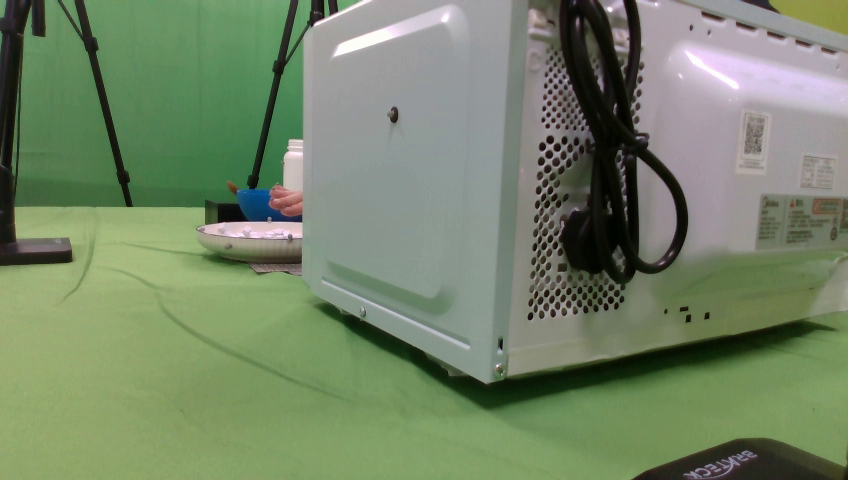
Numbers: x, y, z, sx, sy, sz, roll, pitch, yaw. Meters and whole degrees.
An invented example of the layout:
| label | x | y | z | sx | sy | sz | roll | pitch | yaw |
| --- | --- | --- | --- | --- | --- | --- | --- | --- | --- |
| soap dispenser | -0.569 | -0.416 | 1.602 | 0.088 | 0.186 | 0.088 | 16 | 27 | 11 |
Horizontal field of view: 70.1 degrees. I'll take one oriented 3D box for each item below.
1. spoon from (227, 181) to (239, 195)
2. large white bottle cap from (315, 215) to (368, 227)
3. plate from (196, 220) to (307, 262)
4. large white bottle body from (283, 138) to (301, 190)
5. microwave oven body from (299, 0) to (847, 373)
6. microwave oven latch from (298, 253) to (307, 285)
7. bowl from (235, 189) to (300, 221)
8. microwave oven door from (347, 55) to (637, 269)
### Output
| label | x | y | z | sx | sy | sz | roll | pitch | yaw |
| --- | --- | --- | --- | --- | --- | --- | --- | --- | --- |
| spoon | -0.315 | -0.074 | 1.235 | 0.195 | 0.021 | 0.041 | 24 | -10 | -37 |
| large white bottle cap | -0.177 | -0.041 | 1.309 | 0.115 | 0.018 | 0.115 | 2 | 6 | 0 |
| plate | -0.212 | 0.001 | 0.858 | 0.209 | 0.038 | 0.209 | 1 | 7 | 0 |
| large white bottle body | -0.265 | -0.144 | 1.423 | 0.131 | 0.184 | 0.130 | 2 | 7 | 0 |
| microwave oven body | 0.151 | -0.055 | 0.543 | 0.444 | 0.260 | 0.324 | -2 | 7 | -33 |
| microwave oven latch | -0.081 | 0.027 | 0.582 | 0.079 | 0.029 | 0.030 | -1 | 7 | -32 |
| bowl | -0.252 | -0.047 | 1.063 | 0.151 | 0.077 | 0.151 | 3 | 8 | 0 |
| microwave oven door | 0.088 | -0.087 | 0.739 | 0.357 | 0.243 | 0.039 | 1 | 8 | -14 |
